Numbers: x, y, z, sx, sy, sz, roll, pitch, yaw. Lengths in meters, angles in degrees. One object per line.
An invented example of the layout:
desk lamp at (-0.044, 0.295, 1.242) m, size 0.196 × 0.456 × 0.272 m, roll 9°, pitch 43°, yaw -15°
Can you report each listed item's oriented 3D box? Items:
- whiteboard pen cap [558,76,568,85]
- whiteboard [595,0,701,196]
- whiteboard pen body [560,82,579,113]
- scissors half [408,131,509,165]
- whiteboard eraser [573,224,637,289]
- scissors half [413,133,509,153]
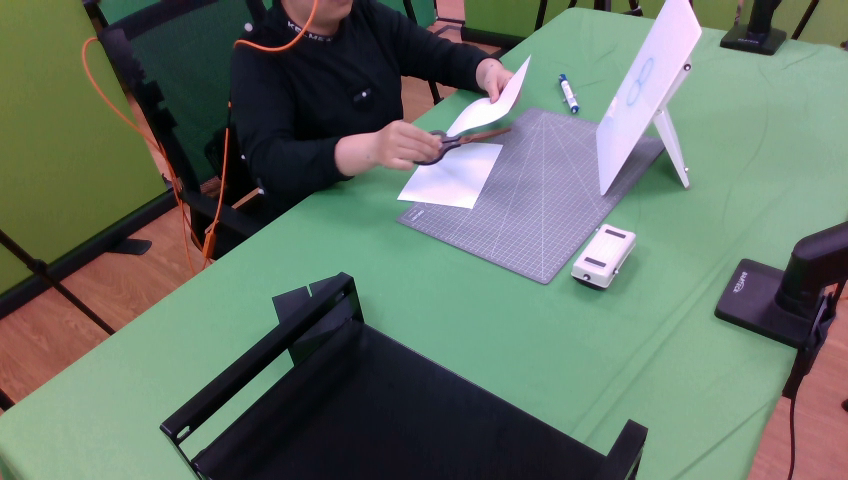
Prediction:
whiteboard pen cap at (0.309, -0.350, 1.340) m, size 0.018 × 0.018 × 0.033 m, roll -6°, pitch 41°, yaw 2°
whiteboard at (0.420, -0.227, 1.010) m, size 0.144 × 0.305 × 0.216 m, roll 18°, pitch 42°, yaw -2°
whiteboard pen body at (0.310, -0.311, 1.298) m, size 0.017 × 0.017 × 0.140 m, roll -6°, pitch 41°, yaw 2°
scissors half at (0.055, -0.151, 0.984) m, size 0.175 × 0.013 × 0.040 m, roll -15°, pitch 31°, yaw 15°
whiteboard eraser at (0.267, 0.025, 0.891) m, size 0.055 × 0.042 × 0.113 m, roll 19°, pitch 47°, yaw 31°
scissors half at (0.060, -0.162, 1.001) m, size 0.174 × 0.013 × 0.040 m, roll -5°, pitch 30°, yaw 31°
